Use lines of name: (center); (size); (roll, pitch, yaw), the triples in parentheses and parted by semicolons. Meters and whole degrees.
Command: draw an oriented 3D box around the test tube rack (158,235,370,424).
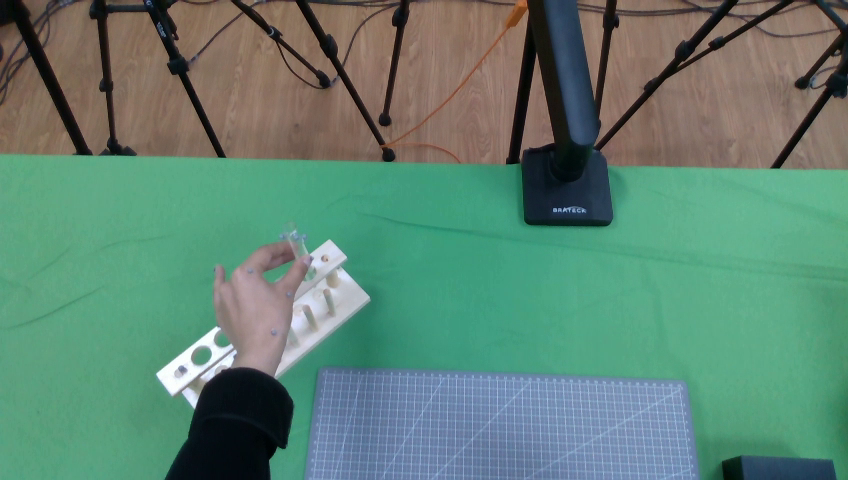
test tube rack: (-0.181, 0.106, 0.727); (0.242, 0.086, 0.066); (-40, 70, -17)

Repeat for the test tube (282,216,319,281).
test tube: (-0.137, 0.014, 0.684); (0.017, 0.151, 0.017); (0, 64, 0)
